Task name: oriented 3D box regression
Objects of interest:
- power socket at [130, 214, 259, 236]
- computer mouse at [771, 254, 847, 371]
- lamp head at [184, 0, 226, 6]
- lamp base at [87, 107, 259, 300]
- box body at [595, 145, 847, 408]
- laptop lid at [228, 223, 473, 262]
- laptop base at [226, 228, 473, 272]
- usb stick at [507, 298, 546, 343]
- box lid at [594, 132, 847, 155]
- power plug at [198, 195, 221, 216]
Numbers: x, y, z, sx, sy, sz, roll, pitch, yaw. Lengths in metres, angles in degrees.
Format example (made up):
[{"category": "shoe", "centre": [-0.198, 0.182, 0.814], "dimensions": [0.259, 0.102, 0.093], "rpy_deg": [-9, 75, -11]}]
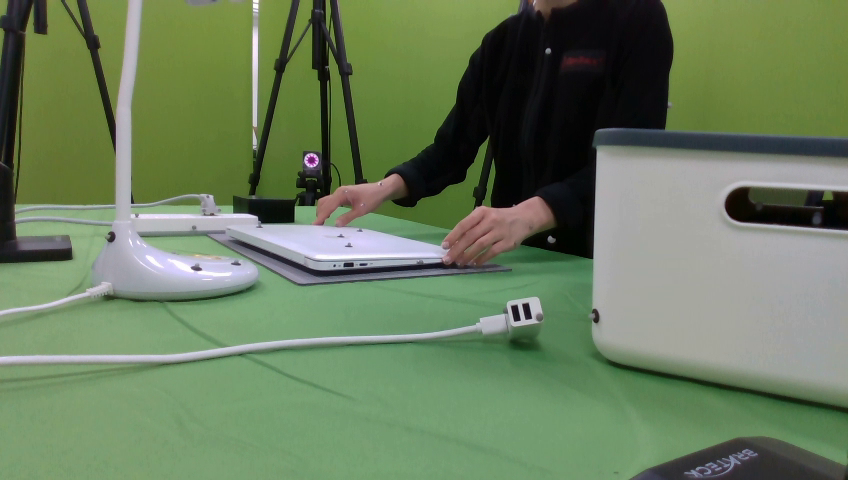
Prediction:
[{"category": "power socket", "centre": [-0.397, -0.028, 1.048], "dimensions": [0.228, 0.032, 0.072], "rpy_deg": [-3, 7, -35]}, {"category": "computer mouse", "centre": [0.344, 0.057, 0.519], "dimensions": [0.063, 0.041, 0.117], "rpy_deg": [12, 47, 3]}, {"category": "lamp head", "centre": [-0.229, -0.320, 0.627], "dimensions": [0.112, 0.112, 0.123], "rpy_deg": [6, -35, 26]}, {"category": "lamp base", "centre": [-0.254, -0.039, 0.603], "dimensions": [0.160, 0.180, 0.179], "rpy_deg": [4, 10, 18]}, {"category": "box body", "centre": [0.309, 0.007, 0.510], "dimensions": [0.253, 0.160, 0.366], "rpy_deg": [6, 8, 29]}, {"category": "laptop lid", "centre": [-0.123, -0.001, 0.888], "dimensions": [0.243, 0.013, 0.355], "rpy_deg": [1, 7, -33]}, {"category": "laptop base", "centre": [-0.125, 0.011, 0.889], "dimensions": [0.237, 0.023, 0.352], "rpy_deg": [1, 7, -35]}, {"category": "usb stick", "centre": [0.079, 0.065, 0.470], "dimensions": [0.027, 0.021, 0.059], "rpy_deg": [-12, -24, 4]}, {"category": "box lid", "centre": [0.310, -0.066, 0.499], "dimensions": [0.262, 0.015, 0.373], "rpy_deg": [7, 8, 29]}, {"category": "power plug", "centre": [-0.386, -0.055, 1.088], "dimensions": [0.035, 0.052, 0.072], "rpy_deg": [-1, 6, -24]}]
